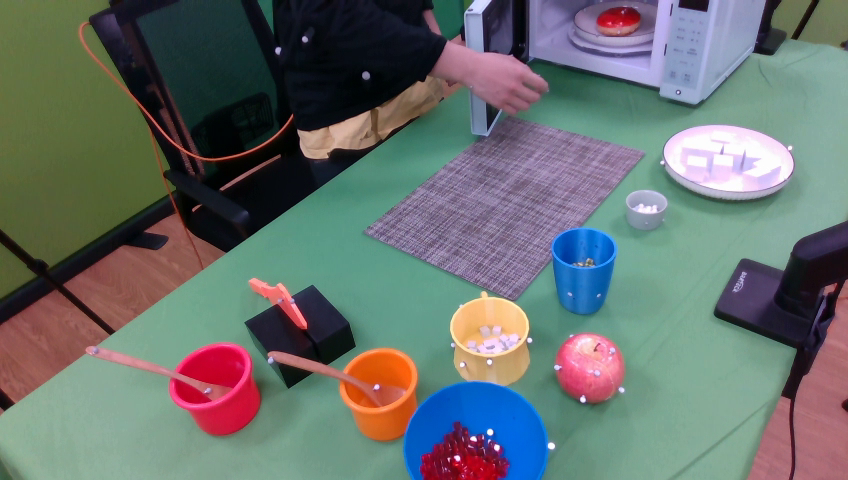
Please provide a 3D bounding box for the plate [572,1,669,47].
[{"bbox_3d":[0.441,-0.484,1.366,0.209,0.038,0.208,-5,41,5],"label":"plate"}]

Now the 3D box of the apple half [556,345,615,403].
[{"bbox_3d":[0.181,0.166,0.709,0.080,0.081,0.033,29,50,35],"label":"apple half"}]

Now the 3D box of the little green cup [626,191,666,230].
[{"bbox_3d":[0.352,-0.046,0.963,0.061,0.039,0.061,-4,40,4],"label":"little green cup"}]

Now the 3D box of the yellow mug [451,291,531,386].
[{"bbox_3d":[0.086,0.120,0.786,0.100,0.064,0.130,-7,39,1],"label":"yellow mug"}]

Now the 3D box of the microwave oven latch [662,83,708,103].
[{"bbox_3d":[0.518,-0.296,1.204,0.078,0.029,0.030,28,52,35],"label":"microwave oven latch"}]

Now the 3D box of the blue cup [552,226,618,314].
[{"bbox_3d":[0.218,0.047,0.826,0.092,0.101,0.092,-6,40,5],"label":"blue cup"}]

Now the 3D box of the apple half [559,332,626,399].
[{"bbox_3d":[0.209,0.147,0.730,0.080,0.075,0.053,26,48,38],"label":"apple half"}]

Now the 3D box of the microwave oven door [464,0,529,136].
[{"bbox_3d":[0.156,-0.410,1.236,0.039,0.245,0.355,10,43,19],"label":"microwave oven door"}]

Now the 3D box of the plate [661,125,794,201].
[{"bbox_3d":[0.513,-0.128,1.035,0.207,0.039,0.206,-4,40,4],"label":"plate"}]

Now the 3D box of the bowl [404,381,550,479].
[{"bbox_3d":[0.058,0.235,0.645,0.151,0.077,0.150,-4,39,4],"label":"bowl"}]

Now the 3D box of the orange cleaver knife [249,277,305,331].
[{"bbox_3d":[-0.210,0.088,0.855,0.012,0.077,0.210,-28,15,-25],"label":"orange cleaver knife"}]

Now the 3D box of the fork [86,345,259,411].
[{"bbox_3d":[-0.298,0.167,0.728,0.209,0.018,0.028,29,47,-23],"label":"fork"}]

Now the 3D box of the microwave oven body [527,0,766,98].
[{"bbox_3d":[0.472,-0.513,1.317,0.438,0.261,0.327,26,51,34],"label":"microwave oven body"}]

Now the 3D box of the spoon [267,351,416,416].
[{"bbox_3d":[-0.091,0.162,0.699,0.021,0.195,0.041,-45,30,26],"label":"spoon"}]
